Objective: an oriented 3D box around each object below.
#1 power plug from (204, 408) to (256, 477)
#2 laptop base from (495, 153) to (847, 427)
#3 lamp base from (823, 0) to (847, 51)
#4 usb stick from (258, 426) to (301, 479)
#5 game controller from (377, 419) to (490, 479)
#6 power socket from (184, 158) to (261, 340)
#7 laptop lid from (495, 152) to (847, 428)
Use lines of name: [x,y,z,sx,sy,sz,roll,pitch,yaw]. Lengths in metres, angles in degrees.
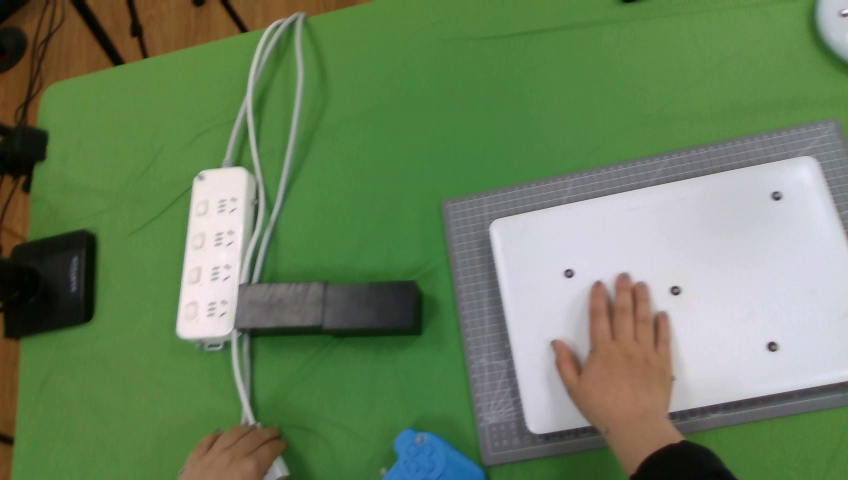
power plug: [-0.209,0.224,0.661,0.052,0.035,0.072,-15,29,29]
laptop base: [0.266,0.049,0.634,0.354,0.023,0.234,-11,74,6]
lamp base: [0.529,-0.296,0.612,0.160,0.181,0.178,22,75,16]
usb stick: [-0.152,0.230,0.646,0.021,0.027,0.058,-37,69,6]
game controller: [-0.016,0.253,0.604,0.096,0.052,0.155,40,82,22]
power socket: [-0.240,0.005,0.728,0.072,0.033,0.225,-3,72,8]
laptop lid: [0.265,0.048,0.623,0.356,0.013,0.240,-10,74,7]
